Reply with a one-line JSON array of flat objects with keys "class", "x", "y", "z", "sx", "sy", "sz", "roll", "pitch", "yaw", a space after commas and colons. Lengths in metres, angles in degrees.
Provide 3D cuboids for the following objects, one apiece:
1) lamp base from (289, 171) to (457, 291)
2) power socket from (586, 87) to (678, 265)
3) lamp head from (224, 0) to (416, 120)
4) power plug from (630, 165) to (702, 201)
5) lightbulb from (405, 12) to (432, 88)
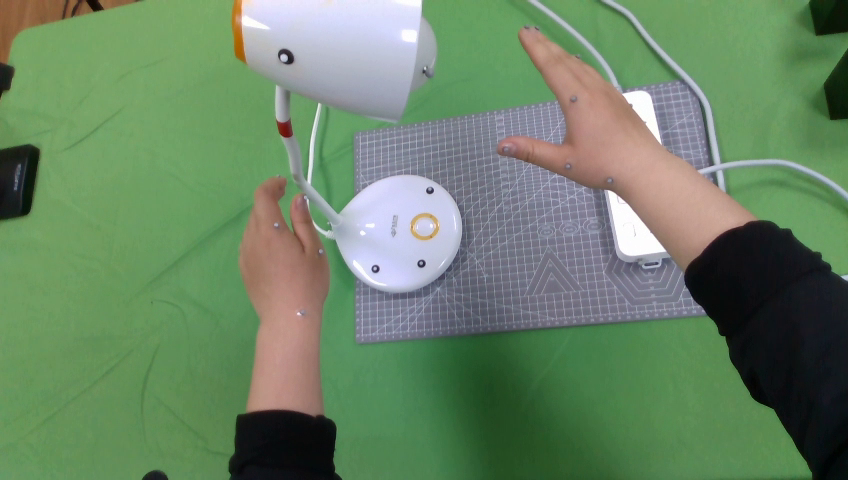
[{"class": "lamp base", "x": -0.066, "y": -0.034, "z": 0.704, "sx": 0.179, "sy": 0.182, "sz": 0.159, "roll": -11, "pitch": 70, "yaw": 13}, {"class": "power socket", "x": 0.246, "y": -0.082, "z": 0.724, "sx": 0.072, "sy": 0.033, "sz": 0.225, "roll": -8, "pitch": 71, "yaw": 10}, {"class": "lamp head", "x": -0.073, "y": -0.144, "z": 0.421, "sx": 0.123, "sy": 0.113, "sz": 0.111, "roll": 2, "pitch": 72, "yaw": -9}, {"class": "power plug", "x": 0.273, "y": -0.061, "z": 0.691, "sx": 0.072, "sy": 0.053, "sz": 0.035, "roll": 2, "pitch": 75, "yaw": 12}, {"class": "lightbulb", "x": -0.048, "y": -0.139, "z": 0.419, "sx": 0.108, "sy": 0.059, "sz": 0.059, "roll": 11, "pitch": 74, "yaw": -12}]
